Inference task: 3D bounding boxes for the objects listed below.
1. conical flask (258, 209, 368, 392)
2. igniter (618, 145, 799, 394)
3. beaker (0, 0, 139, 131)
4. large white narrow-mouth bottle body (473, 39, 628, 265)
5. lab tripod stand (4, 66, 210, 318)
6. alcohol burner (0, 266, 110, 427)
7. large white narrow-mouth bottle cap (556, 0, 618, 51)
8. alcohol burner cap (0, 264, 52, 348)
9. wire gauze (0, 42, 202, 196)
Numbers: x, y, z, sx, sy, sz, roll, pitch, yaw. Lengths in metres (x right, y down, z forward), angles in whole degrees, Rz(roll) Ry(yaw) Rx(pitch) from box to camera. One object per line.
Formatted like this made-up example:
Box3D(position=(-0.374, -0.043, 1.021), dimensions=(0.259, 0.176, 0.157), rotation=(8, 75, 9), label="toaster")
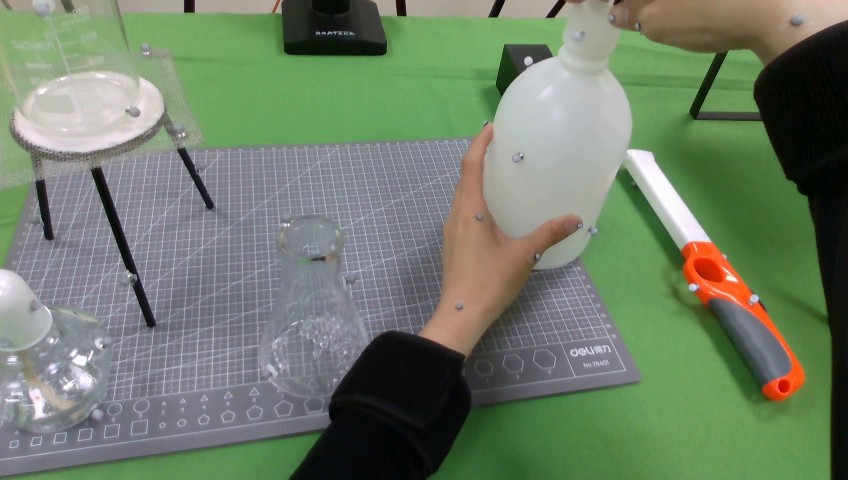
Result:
Box3D(position=(-0.071, 0.036, 0.384), dimensions=(0.075, 0.123, 0.074), rotation=(4, 47, -4), label="conical flask")
Box3D(position=(0.236, 0.010, 0.525), dimensions=(0.057, 0.025, 0.273), rotation=(4, 46, -20), label="igniter")
Box3D(position=(-0.211, -0.119, 0.342), dimensions=(0.084, 0.101, 0.073), rotation=(-10, 51, -17), label="beaker")
Box3D(position=(0.099, -0.076, 0.465), dimensions=(0.102, 0.196, 0.101), rotation=(4, 47, -4), label="large white narrow-mouth bottle body")
Box3D(position=(-0.215, -0.038, 0.423), dimensions=(0.148, 0.132, 0.147), rotation=(6, 47, -6), label="lab tripod stand")
Box3D(position=(-0.227, 0.056, 0.347), dimensions=(0.078, 0.120, 0.077), rotation=(6, 45, -5), label="alcohol burner")
Box3D(position=(0.107, -0.143, 0.396), dimensions=(0.038, 0.024, 0.037), rotation=(4, 47, -4), label="large white narrow-mouth bottle cap")
Box3D(position=(-0.222, 0.033, 0.320), dimensions=(0.034, 0.048, 0.033), rotation=(5, 52, -6), label="alcohol burner cap")
Box3D(position=(-0.212, -0.084, 0.377), dimensions=(0.122, 0.011, 0.123), rotation=(-17, 56, -21), label="wire gauze")
